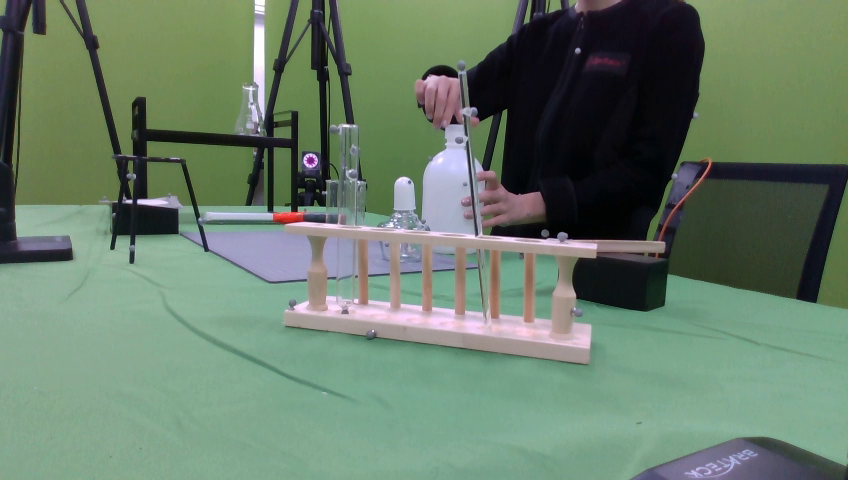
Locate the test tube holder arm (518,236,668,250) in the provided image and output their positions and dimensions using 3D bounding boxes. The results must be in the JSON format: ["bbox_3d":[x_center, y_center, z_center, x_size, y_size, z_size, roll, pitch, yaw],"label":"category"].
[{"bbox_3d":[0.185,0.003,0.654,0.179,0.015,0.013,0,13,-18],"label":"test tube holder arm"}]

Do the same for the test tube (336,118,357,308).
[{"bbox_3d":[-0.061,-0.019,0.476,0.017,0.150,0.017,2,11,0],"label":"test tube"}]

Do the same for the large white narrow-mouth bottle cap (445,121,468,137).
[{"bbox_3d":[0.051,-0.174,0.949,0.038,0.024,0.037,2,8,0],"label":"large white narrow-mouth bottle cap"}]

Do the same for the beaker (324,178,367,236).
[{"bbox_3d":[-0.139,-0.060,1.083,0.074,0.100,0.083,-3,10,-31],"label":"beaker"}]

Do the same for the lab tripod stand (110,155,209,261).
[{"bbox_3d":[-0.361,-0.046,0.806,0.148,0.131,0.148,2,5,0],"label":"lab tripod stand"}]

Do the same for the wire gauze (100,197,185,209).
[{"bbox_3d":[-0.469,-0.062,1.008,0.126,0.011,0.121,-2,8,-25],"label":"wire gauze"}]

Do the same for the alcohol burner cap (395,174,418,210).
[{"bbox_3d":[-0.025,-0.067,0.833,0.034,0.048,0.034,-1,12,1],"label":"alcohol burner cap"}]

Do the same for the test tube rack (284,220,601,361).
[{"bbox_3d":[0.013,0.032,0.482,0.242,0.085,0.067,4,7,16],"label":"test tube rack"}]

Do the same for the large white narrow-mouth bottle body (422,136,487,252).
[{"bbox_3d":[0.050,-0.082,0.962,0.102,0.194,0.102,2,8,0],"label":"large white narrow-mouth bottle body"}]

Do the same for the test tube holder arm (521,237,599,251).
[{"bbox_3d":[0.144,0.004,0.635,0.088,0.015,0.010,0,13,-19],"label":"test tube holder arm"}]

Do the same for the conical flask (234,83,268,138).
[{"bbox_3d":[-0.400,-0.298,1.396,0.075,0.122,0.075,2,8,0],"label":"conical flask"}]

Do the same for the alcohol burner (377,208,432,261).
[{"bbox_3d":[-0.027,-0.031,0.838,0.078,0.119,0.078,0,6,0],"label":"alcohol burner"}]

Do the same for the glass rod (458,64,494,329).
[{"bbox_3d":[0.039,-0.029,0.449,0.008,0.199,0.008,-7,9,1],"label":"glass rod"}]

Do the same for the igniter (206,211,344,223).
[{"bbox_3d":[-0.302,-0.048,1.249,0.278,0.025,0.057,-2,-2,-27],"label":"igniter"}]
